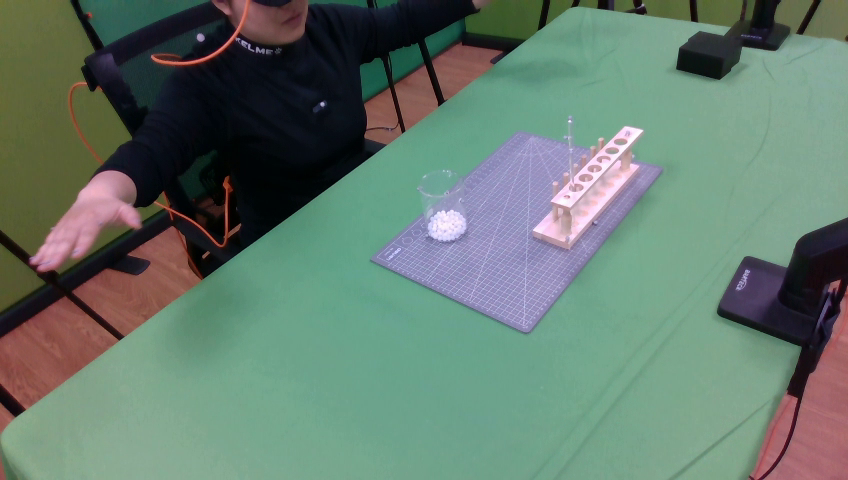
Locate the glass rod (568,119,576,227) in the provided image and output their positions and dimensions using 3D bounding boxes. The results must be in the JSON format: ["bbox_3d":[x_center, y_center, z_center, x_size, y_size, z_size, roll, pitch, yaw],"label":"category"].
[{"bbox_3d":[0.218,-0.093,0.894,0.008,0.201,0.008,-8,43,8],"label":"glass rod"}]

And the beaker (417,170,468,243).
[{"bbox_3d":[0.034,-0.054,0.976,0.073,0.101,0.084,9,42,20],"label":"beaker"}]

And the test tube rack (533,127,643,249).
[{"bbox_3d":[0.271,-0.094,0.989,0.066,0.085,0.243,23,50,34],"label":"test tube rack"}]
